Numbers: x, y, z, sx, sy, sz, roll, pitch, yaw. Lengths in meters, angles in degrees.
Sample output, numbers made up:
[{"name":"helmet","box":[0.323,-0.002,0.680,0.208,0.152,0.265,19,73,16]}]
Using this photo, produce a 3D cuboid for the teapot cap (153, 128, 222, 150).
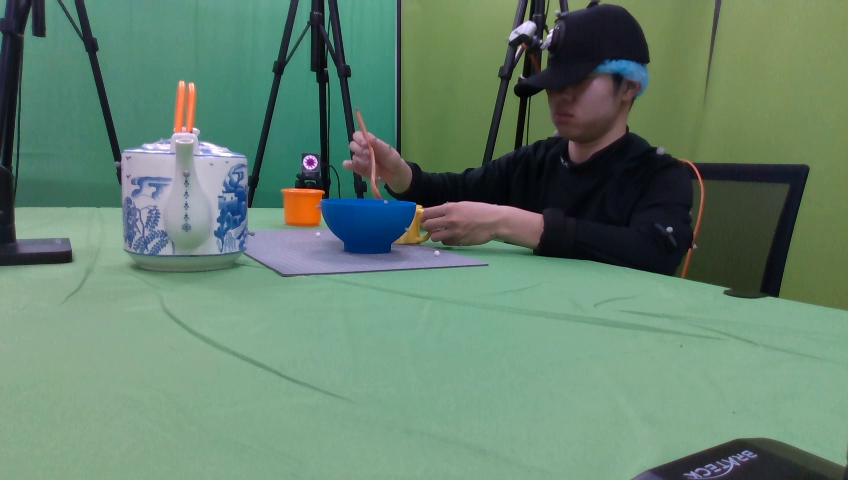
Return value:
[{"name":"teapot cap","box":[-0.294,-0.117,0.754,0.085,0.044,0.085,4,9,0]}]

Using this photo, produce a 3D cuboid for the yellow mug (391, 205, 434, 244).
[{"name":"yellow mug","box":[-0.041,-0.030,1.070,0.130,0.064,0.100,7,8,26]}]

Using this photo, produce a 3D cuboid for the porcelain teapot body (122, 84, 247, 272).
[{"name":"porcelain teapot body","box":[-0.286,-0.075,0.733,0.146,0.225,0.204,0,8,-24]}]

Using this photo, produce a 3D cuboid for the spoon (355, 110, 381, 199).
[{"name":"spoon","box":[-0.095,-0.145,1.074,0.021,0.193,0.042,-14,-14,4]}]

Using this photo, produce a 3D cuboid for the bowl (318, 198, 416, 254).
[{"name":"bowl","box":[-0.089,-0.022,0.941,0.151,0.077,0.151,2,7,0]}]
